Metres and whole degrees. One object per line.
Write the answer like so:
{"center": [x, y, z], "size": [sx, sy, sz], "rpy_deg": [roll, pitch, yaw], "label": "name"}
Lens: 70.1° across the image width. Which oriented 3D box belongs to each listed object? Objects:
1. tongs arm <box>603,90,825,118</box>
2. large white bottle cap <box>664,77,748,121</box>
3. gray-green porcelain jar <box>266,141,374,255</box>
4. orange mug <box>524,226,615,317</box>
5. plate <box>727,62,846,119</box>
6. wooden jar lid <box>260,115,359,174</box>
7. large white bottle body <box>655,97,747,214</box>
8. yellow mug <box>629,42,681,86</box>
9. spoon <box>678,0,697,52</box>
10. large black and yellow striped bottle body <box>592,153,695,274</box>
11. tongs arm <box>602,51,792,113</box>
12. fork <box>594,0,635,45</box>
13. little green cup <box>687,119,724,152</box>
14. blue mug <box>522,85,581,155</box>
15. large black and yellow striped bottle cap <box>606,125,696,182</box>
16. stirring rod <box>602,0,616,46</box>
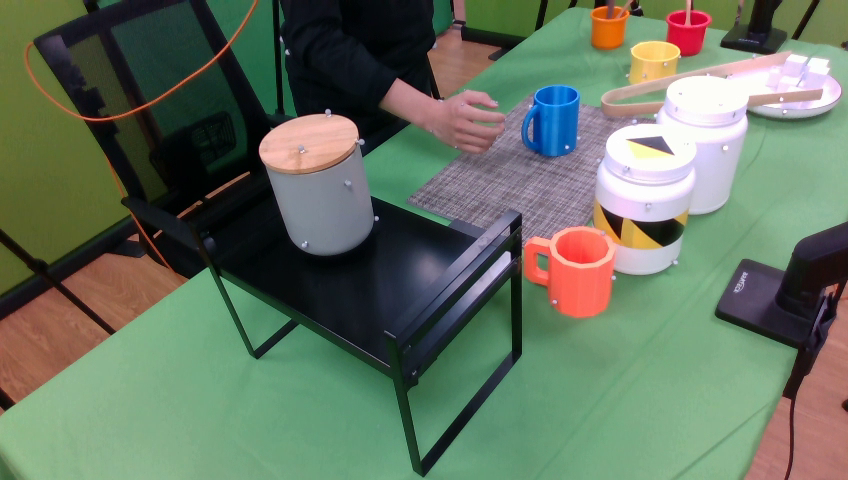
{"center": [0.546, -0.262, 1.163], "size": [0.386, 0.028, 0.028], "rpy_deg": [-1, 49, 18], "label": "tongs arm"}
{"center": [0.421, -0.212, 0.905], "size": [0.115, 0.018, 0.114], "rpy_deg": [-4, 40, 4], "label": "large white bottle cap"}
{"center": [-0.117, -0.054, 0.703], "size": [0.106, 0.127, 0.105], "rpy_deg": [-4, 40, 4], "label": "gray-green porcelain jar"}
{"center": [0.201, 0.039, 0.845], "size": [0.125, 0.101, 0.083], "rpy_deg": [18, 46, 21], "label": "orange mug"}
{"center": [0.709, -0.292, 1.197], "size": [0.207, 0.039, 0.206], "rpy_deg": [-4, 40, 4], "label": "plate"}
{"center": [-0.124, -0.101, 0.662], "size": [0.108, 0.021, 0.108], "rpy_deg": [-4, 41, 4], "label": "wooden jar lid"}
{"center": [0.431, -0.148, 0.959], "size": [0.130, 0.185, 0.130], "rpy_deg": [-4, 41, 4], "label": "large white bottle body"}
{"center": [0.495, -0.389, 1.321], "size": [0.100, 0.064, 0.130], "rpy_deg": [-14, 40, -6], "label": "yellow mug"}
{"center": [0.614, -0.526, 1.402], "size": [0.041, 0.022, 0.193], "rpy_deg": [3, 86, 11], "label": "spoon"}
{"center": [0.313, -0.056, 0.872], "size": [0.131, 0.185, 0.130], "rpy_deg": [-4, 41, 4], "label": "large black and yellow striped bottle body"}
{"center": [0.552, -0.320, 1.224], "size": [0.384, 0.027, 0.050], "rpy_deg": [-10, 43, 7], "label": "tongs arm"}
{"center": [0.485, -0.552, 1.446], "size": [0.207, 0.019, 0.028], "rpy_deg": [-51, 43, 17], "label": "fork"}
{"center": [0.514, -0.191, 1.109], "size": [0.061, 0.039, 0.061], "rpy_deg": [-5, 40, 5], "label": "little green cup"}
{"center": [0.233, -0.218, 1.127], "size": [0.117, 0.106, 0.081], "rpy_deg": [-23, 43, -16], "label": "blue mug"}
{"center": [0.305, -0.119, 0.816], "size": [0.115, 0.019, 0.114], "rpy_deg": [-5, 41, 5], "label": "large black and yellow striped bottle cap"}
{"center": [0.453, -0.554, 1.463], "size": [0.014, 0.006, 0.176], "rpy_deg": [11, 85, 13], "label": "stirring rod"}
